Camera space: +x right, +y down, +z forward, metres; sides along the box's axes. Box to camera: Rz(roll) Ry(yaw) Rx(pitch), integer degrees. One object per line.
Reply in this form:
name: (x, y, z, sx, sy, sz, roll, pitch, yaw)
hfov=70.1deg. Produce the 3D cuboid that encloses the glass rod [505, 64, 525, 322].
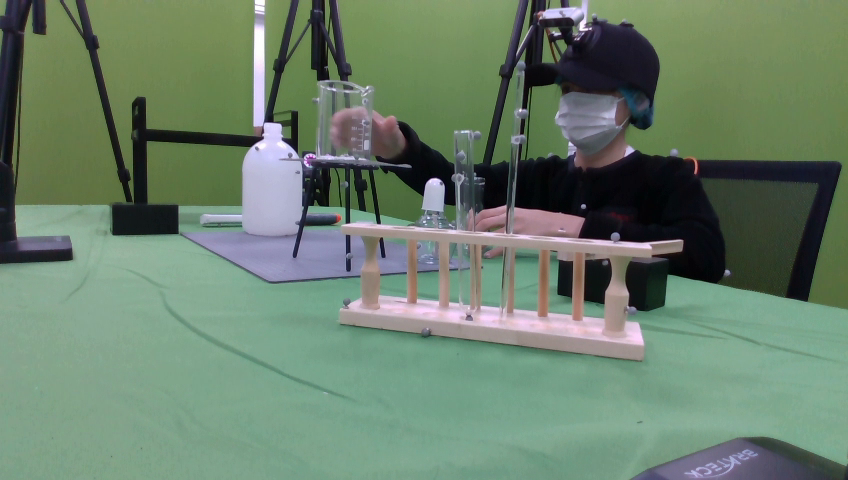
glass rod: (0.069, -0.029, 0.458, 0.008, 0.199, 0.008, 1, 15, 0)

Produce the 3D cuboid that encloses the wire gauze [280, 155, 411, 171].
wire gauze: (-0.103, -0.103, 0.785, 0.121, 0.011, 0.126, 11, 8, 42)

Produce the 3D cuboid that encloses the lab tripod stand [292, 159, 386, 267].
lab tripod stand: (-0.105, -0.039, 0.797, 0.148, 0.131, 0.148, 2, 5, 0)

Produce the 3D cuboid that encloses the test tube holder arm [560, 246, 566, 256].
test tube holder arm: (0.173, 0.007, 0.611, 0.088, 0.015, 0.010, -3, 10, -30)

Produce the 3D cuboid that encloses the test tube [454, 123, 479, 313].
test tube: (0.034, -0.016, 0.477, 0.017, 0.150, 0.017, -2, 9, 1)

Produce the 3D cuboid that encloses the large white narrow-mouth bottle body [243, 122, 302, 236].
large white narrow-mouth bottle body: (-0.264, -0.109, 1.061, 0.102, 0.194, 0.102, 2, 8, 0)

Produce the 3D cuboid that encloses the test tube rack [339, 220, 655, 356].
test tube rack: (0.056, 0.032, 0.495, 0.242, 0.085, 0.067, 4, 7, 15)

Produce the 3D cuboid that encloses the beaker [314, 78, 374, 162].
beaker: (-0.101, -0.150, 0.773, 0.074, 0.100, 0.083, -2, 8, -40)

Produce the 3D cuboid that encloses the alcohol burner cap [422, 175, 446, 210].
alcohol burner cap: (0.016, -0.065, 0.830, 0.034, 0.048, 0.034, 7, 4, 0)

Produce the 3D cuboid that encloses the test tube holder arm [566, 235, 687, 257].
test tube holder arm: (0.215, 0.006, 0.630, 0.179, 0.015, 0.013, -3, 10, -30)

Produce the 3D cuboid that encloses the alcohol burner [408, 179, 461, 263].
alcohol burner: (0.014, -0.030, 0.833, 0.078, 0.119, 0.078, 0, 6, 0)

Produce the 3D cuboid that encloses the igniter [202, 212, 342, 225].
igniter: (-0.298, -0.043, 1.216, 0.278, 0.025, 0.057, -3, -2, -32)

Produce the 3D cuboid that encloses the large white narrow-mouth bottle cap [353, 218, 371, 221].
large white narrow-mouth bottle cap: (-0.121, -0.030, 1.184, 0.038, 0.024, 0.037, 2, 8, 0)

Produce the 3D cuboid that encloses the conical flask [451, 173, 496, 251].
conical flask: (0.080, -0.046, 0.971, 0.075, 0.122, 0.075, 2, 7, 0)
